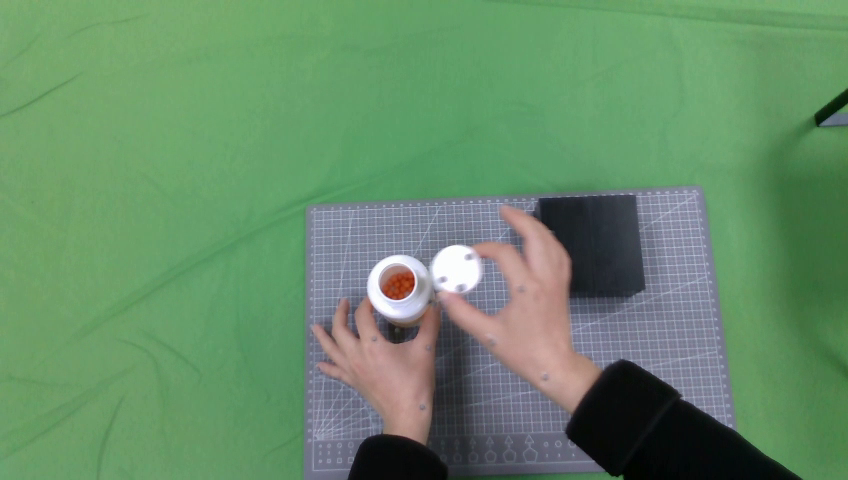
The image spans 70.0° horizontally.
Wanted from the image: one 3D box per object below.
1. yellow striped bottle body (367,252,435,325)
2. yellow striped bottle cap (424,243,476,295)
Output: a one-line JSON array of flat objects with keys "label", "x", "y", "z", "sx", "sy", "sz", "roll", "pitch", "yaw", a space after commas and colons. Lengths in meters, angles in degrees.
[{"label": "yellow striped bottle body", "x": -0.022, "y": 0.049, "z": 0.610, "sx": 0.063, "sy": 0.121, "sz": 0.062, "roll": 0, "pitch": 77, "yaw": 3}, {"label": "yellow striped bottle cap", "x": 0.023, "y": 0.025, "z": 0.530, "sx": 0.044, "sy": 0.019, "sz": 0.044, "roll": 2, "pitch": 75, "yaw": -8}]
